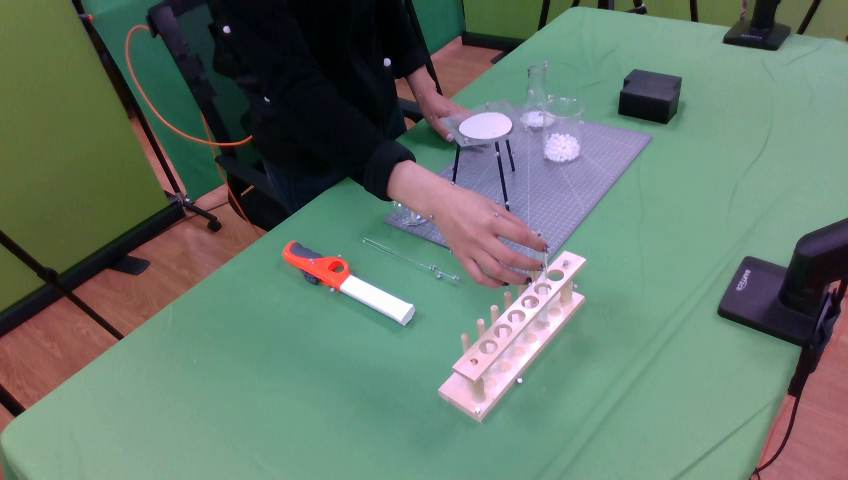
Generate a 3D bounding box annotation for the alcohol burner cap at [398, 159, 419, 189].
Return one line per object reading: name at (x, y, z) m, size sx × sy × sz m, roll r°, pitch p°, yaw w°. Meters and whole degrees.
alcohol burner cap at (-0.028, -0.111, 0.988) m, size 0.034 × 0.048 × 0.033 m, roll -3°, pitch 46°, yaw 4°

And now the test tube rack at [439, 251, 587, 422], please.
test tube rack at (0.118, 0.111, 0.780) m, size 0.066 × 0.085 × 0.243 m, roll 26°, pitch 51°, yaw 35°

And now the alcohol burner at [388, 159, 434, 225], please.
alcohol burner at (-0.023, -0.085, 1.013) m, size 0.078 × 0.119 × 0.077 m, roll -4°, pitch 38°, yaw 4°

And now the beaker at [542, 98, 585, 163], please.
beaker at (0.255, -0.200, 1.107) m, size 0.073 × 0.101 × 0.084 m, roll 9°, pitch 43°, yaw 21°

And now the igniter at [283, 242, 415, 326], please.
igniter at (-0.126, 0.062, 0.931) m, size 0.274 × 0.025 × 0.057 m, roll 24°, pitch 61°, yaw 33°

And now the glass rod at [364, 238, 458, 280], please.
glass rod at (-0.026, 0.029, 0.966) m, size 0.198 × 0.008 × 0.008 m, roll 21°, pitch 49°, yaw 35°

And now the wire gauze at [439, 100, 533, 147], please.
wire gauze at (0.100, -0.190, 0.994) m, size 0.125 × 0.011 × 0.120 m, roll -15°, pitch 39°, yaw -7°

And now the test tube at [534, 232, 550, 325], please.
test tube at (0.149, 0.052, 0.763) m, size 0.017 × 0.151 × 0.017 m, roll -7°, pitch 38°, yaw 6°

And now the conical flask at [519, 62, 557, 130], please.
conical flask at (0.225, -0.287, 1.198) m, size 0.075 × 0.122 × 0.075 m, roll -6°, pitch 40°, yaw 5°

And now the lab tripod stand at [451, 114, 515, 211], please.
lab tripod stand at (0.113, -0.140, 1.037) m, size 0.148 × 0.132 × 0.147 m, roll -6°, pitch 38°, yaw 5°
